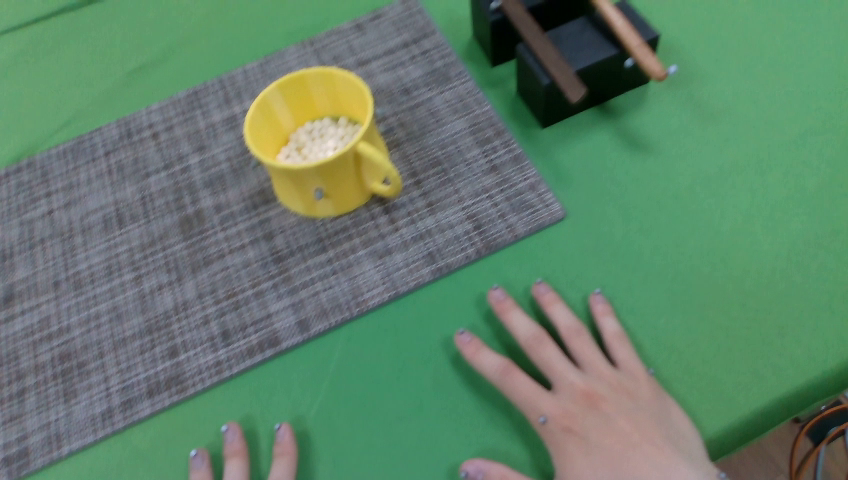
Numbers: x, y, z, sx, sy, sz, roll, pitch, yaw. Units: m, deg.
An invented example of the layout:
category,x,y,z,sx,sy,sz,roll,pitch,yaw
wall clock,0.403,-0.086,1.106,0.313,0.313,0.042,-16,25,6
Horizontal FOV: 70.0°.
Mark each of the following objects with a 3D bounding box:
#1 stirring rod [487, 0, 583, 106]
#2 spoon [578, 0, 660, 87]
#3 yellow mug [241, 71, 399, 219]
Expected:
category,x,y,z,sx,sy,sz,roll,pitch,yaw
stirring rod,0.079,-0.168,0.487,0.014,0.006,0.174,-44,54,27
spoon,0.130,-0.192,0.491,0.041,0.022,0.192,-24,61,-7
yellow mug,-0.073,-0.069,0.477,0.130,0.064,0.099,28,67,22
